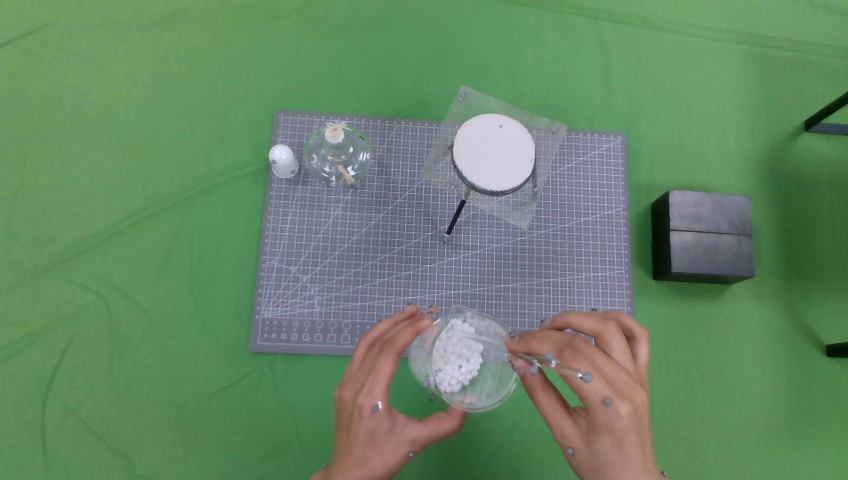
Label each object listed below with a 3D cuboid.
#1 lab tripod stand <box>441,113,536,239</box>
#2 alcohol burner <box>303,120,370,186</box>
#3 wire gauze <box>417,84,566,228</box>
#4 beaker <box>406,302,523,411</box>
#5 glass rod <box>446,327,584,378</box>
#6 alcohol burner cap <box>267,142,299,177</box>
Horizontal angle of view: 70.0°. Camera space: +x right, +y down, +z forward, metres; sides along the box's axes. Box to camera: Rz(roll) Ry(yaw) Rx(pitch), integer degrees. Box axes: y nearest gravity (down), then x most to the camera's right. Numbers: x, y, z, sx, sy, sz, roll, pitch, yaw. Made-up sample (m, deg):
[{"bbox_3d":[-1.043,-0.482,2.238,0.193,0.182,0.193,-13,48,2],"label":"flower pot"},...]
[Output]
[{"bbox_3d":[0.070,-0.076,0.688,0.148,0.132,0.147,1,74,-5],"label":"lab tripod stand"},{"bbox_3d":[-0.101,-0.106,0.692,0.078,0.119,0.077,1,75,-5],"label":"alcohol burner"},{"bbox_3d":[0.071,-0.090,0.622,0.125,0.011,0.121,24,76,1],"label":"wire gauze"},{"bbox_3d":[0.026,0.093,0.502,0.074,0.100,0.084,-19,87,-15],"label":"beaker"},{"bbox_3d":[0.057,0.079,0.447,0.008,0.199,0.008,0,90,-21],"label":"glass rod"},{"bbox_3d":[-0.169,-0.098,0.721,0.034,0.048,0.033,0,75,-1],"label":"alcohol burner cap"}]
